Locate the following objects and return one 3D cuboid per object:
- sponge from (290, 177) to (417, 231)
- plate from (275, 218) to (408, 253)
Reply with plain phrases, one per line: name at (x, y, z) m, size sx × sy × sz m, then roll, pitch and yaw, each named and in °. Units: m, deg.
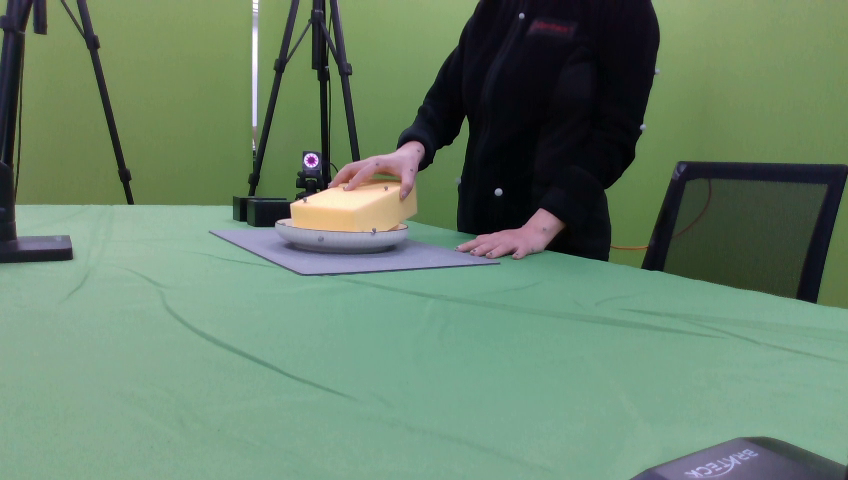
sponge at (-0.108, -0.052, 0.992) m, size 0.118 × 0.061 × 0.207 m, roll 5°, pitch 19°, yaw 24°
plate at (-0.129, -0.009, 0.954) m, size 0.209 × 0.038 × 0.209 m, roll 2°, pitch 7°, yaw 0°
